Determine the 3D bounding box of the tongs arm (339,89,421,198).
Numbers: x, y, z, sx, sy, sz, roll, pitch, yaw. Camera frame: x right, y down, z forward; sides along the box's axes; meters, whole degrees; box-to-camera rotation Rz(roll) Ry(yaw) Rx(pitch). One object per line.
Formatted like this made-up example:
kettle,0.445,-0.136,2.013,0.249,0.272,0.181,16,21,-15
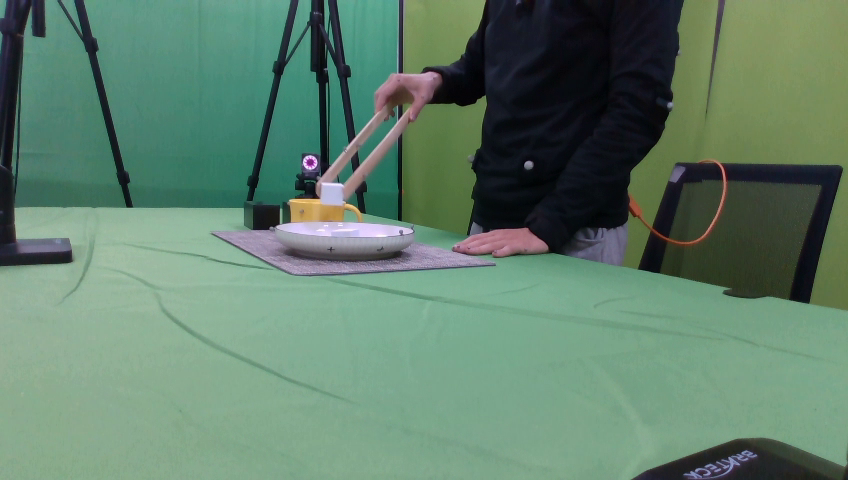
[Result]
tongs arm,-0.071,-0.188,1.103,0.028,0.028,0.388,4,37,21

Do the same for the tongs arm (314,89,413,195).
tongs arm,-0.099,-0.192,1.112,0.050,0.026,0.385,5,37,17

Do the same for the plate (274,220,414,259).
plate,-0.118,-0.001,0.903,0.208,0.039,0.207,3,7,0

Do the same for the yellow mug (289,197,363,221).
yellow mug,-0.174,-0.040,1.072,0.131,0.064,0.100,2,7,0
